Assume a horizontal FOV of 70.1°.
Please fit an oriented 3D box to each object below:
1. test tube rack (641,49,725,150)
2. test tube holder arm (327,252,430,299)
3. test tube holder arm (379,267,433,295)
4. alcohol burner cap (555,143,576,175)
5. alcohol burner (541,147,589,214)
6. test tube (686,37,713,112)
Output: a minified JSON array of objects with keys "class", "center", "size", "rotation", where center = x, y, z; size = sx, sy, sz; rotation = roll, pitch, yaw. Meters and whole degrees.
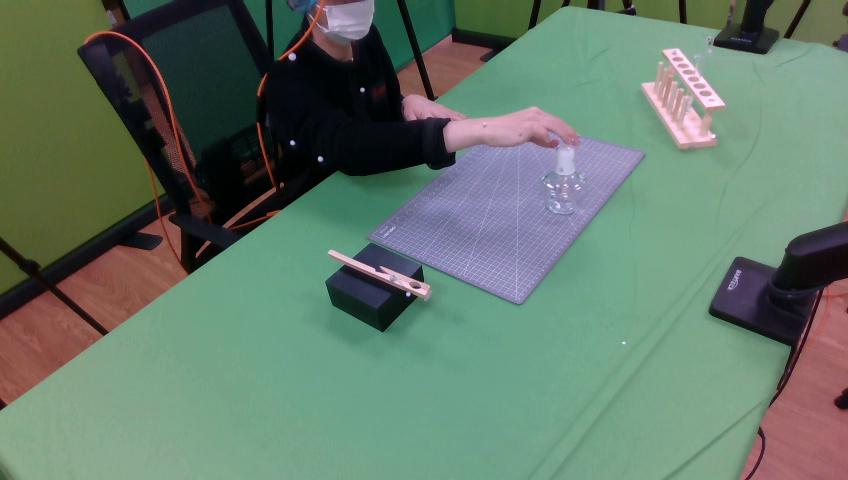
[{"class":"test tube rack","center":[0.495,-0.279,1.175],"size":[0.067,0.085,0.241],"rotation":[-5,41,3]},{"class":"test tube holder arm","center":[-0.068,0.049,0.855],"size":[0.177,0.015,0.013],"rotation":[18,54,27]},{"class":"test tube holder arm","center":[-0.027,0.057,0.837],"size":[0.087,0.015,0.010],"rotation":[18,54,28]},{"class":"alcohol burner cap","center":[0.226,-0.130,0.958],"size":[0.034,0.048,0.033],"rotation":[-3,36,3]},{"class":"alcohol burner","center":[0.229,-0.102,0.983],"size":[0.078,0.119,0.077],"rotation":[-6,40,5]},{"class":"test tube","center":[0.509,-0.306,1.128],"size":[0.017,0.151,0.017],"rotation":[-1,45,1]}]
